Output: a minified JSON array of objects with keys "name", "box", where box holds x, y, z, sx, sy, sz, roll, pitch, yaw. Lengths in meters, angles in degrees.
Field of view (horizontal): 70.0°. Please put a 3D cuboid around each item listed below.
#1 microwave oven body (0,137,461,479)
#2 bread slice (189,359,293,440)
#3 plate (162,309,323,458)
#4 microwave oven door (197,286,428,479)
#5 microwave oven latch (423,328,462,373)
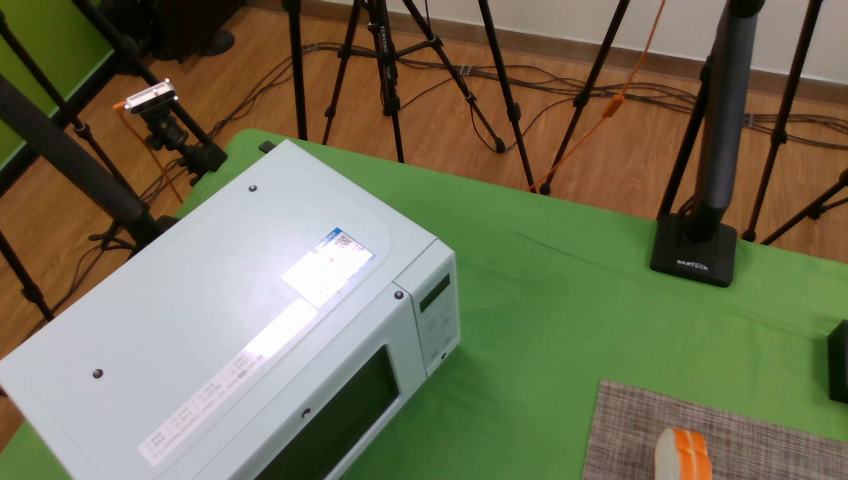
[{"name":"microwave oven body","box":[-0.214,0.137,0.781,0.323,0.262,0.441,34,65,25]},{"name":"bread slice","box":[-0.240,0.216,0.804,0.134,0.018,0.106,-5,53,-11]},{"name":"plate","box":[-0.238,0.191,0.813,0.208,0.039,0.205,0,53,0]},{"name":"microwave oven door","box":[-0.132,0.234,0.699,0.039,0.246,0.355,33,64,26]},{"name":"microwave oven latch","box":[0.021,0.152,0.867,0.030,0.030,0.079,35,66,25]}]
